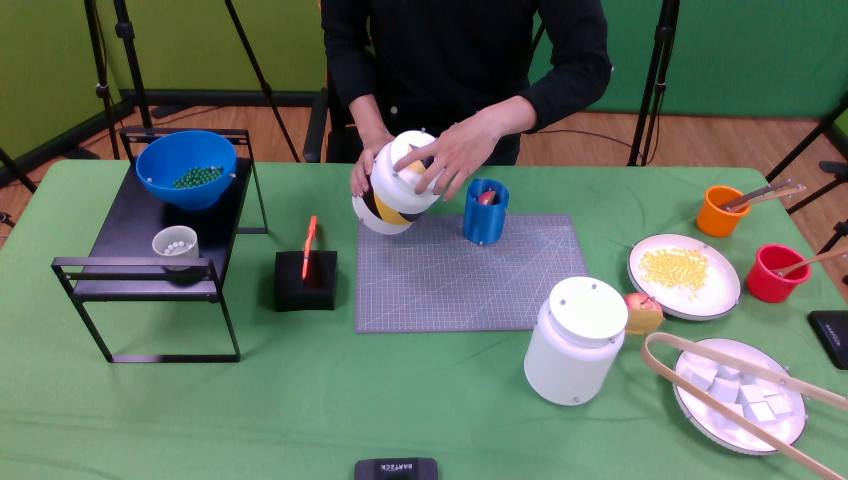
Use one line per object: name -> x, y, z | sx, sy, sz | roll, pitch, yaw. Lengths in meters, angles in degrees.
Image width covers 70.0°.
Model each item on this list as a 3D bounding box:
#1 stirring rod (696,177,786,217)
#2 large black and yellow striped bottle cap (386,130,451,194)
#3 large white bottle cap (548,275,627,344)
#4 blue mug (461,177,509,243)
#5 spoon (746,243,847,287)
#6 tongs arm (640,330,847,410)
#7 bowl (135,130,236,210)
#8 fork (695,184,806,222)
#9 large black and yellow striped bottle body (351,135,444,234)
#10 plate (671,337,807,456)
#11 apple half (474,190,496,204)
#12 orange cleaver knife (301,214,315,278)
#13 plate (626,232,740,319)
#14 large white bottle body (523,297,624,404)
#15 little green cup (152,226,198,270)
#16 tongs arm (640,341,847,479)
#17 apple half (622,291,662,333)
stirring rod -> 0.648, -0.087, 1.244 | 0.176, 0.006, 0.014 | -25, 50, 29
large black and yellow striped bottle cap -> -0.008, -0.133, 1.022 | 0.115, 0.019, 0.114 | 10, 65, -22
large white bottle cap -> 0.240, 0.100, 0.890 | 0.115, 0.018, 0.114 | 3, 47, -3
blue mug -> 0.114, -0.069, 1.211 | 0.082, 0.106, 0.115 | -12, 48, -15
spoon -> 0.702, 0.044, 1.126 | 0.194, 0.022, 0.041 | -29, 37, 30
tongs arm -> 0.543, 0.225, 0.969 | 0.384, 0.026, 0.050 | 22, 52, 13
bowl -> -0.375, -0.102, 0.977 | 0.151, 0.077, 0.150 | 2, 46, -2
fork -> 0.658, -0.074, 1.230 | 0.207, 0.019, 0.028 | -24, 34, 36
large black and yellow striped bottle body -> -0.043, -0.102, 1.092 | 0.131, 0.184, 0.130 | 11, 64, -23
plate -> 0.504, 0.254, 0.984 | 0.208, 0.039, 0.206 | 2, 46, -2
apple half -> 0.109, -0.067, 1.200 | 0.032, 0.081, 0.081 | 29, 51, 13
orange cleaver knife -> -0.217, 0.007, 1.131 | 0.012, 0.077, 0.210 | 7, 19, -9
plate -> 0.489, 0.071, 1.157 | 0.209, 0.038, 0.208 | 3, 46, -2
large white bottle body -> 0.235, 0.159, 0.952 | 0.131, 0.185, 0.130 | 2, 47, -2
little green cup -> -0.364, 0.013, 0.894 | 0.061, 0.039, 0.061 | 3, 47, -3
tongs arm -> 0.500, 0.277, 0.919 | 0.386, 0.028, 0.028 | 34, 59, 22
apple half -> 0.372, 0.124, 1.073 | 0.081, 0.075, 0.053 | 0, 42, 1
